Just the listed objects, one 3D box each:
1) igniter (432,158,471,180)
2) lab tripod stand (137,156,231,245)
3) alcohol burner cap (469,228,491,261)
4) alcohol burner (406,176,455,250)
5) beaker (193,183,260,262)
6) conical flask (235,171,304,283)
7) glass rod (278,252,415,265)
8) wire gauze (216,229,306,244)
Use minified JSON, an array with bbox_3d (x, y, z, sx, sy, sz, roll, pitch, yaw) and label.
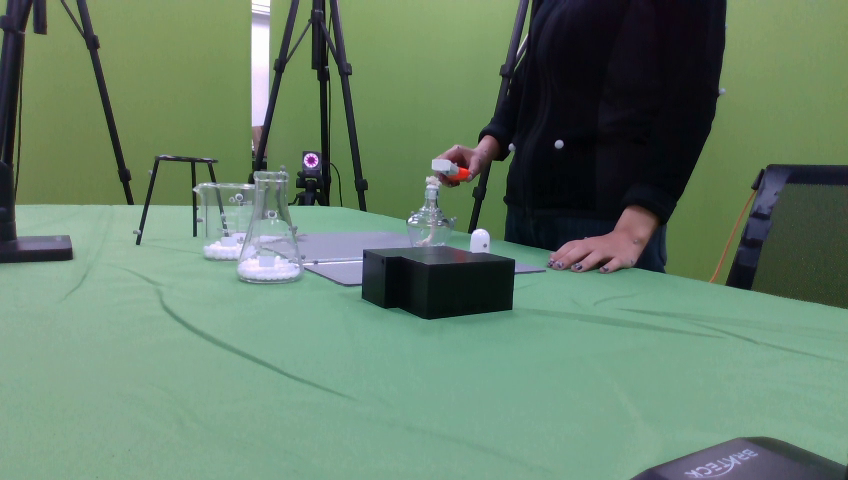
[{"bbox_3d":[0.053,-0.128,1.101,0.057,0.025,0.277,4,3,10],"label":"igniter"},{"bbox_3d":[-0.358,-0.061,0.927,0.148,0.131,0.148,4,6,0],"label":"lab tripod stand"},{"bbox_3d":[0.082,0.006,0.878,0.034,0.048,0.034,3,7,0],"label":"alcohol burner cap"},{"bbox_3d":[0.012,-0.044,0.963,0.078,0.119,0.078,4,6,0],"label":"alcohol burner"},{"bbox_3d":[-0.262,-0.025,0.806,0.084,0.100,0.073,-3,9,-30],"label":"beaker"},{"bbox_3d":[-0.172,-0.016,0.677,0.075,0.122,0.075,2,7,0],"label":"conical flask"},{"bbox_3d":[-0.097,0.024,0.805,0.201,0.008,0.008,-3,8,-33],"label":"glass rod"},{"bbox_3d":[-0.273,-0.009,1.013,0.122,0.011,0.124,-2,9,-33],"label":"wire gauze"}]
